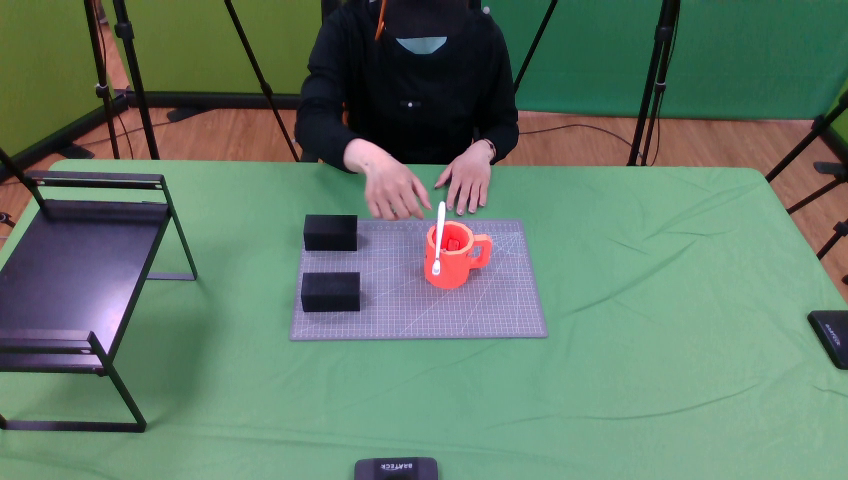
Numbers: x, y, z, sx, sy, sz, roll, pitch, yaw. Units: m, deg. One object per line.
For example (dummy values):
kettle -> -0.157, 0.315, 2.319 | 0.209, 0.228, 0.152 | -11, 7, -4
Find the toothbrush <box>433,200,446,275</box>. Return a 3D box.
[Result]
toothbrush -> 0.028, -0.010, 1.076 | 0.014, 0.017, 0.181 | 2, 46, 5

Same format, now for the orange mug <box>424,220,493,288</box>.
orange mug -> 0.063, 0.023, 1.119 | 0.126, 0.101, 0.083 | -9, 47, -7
